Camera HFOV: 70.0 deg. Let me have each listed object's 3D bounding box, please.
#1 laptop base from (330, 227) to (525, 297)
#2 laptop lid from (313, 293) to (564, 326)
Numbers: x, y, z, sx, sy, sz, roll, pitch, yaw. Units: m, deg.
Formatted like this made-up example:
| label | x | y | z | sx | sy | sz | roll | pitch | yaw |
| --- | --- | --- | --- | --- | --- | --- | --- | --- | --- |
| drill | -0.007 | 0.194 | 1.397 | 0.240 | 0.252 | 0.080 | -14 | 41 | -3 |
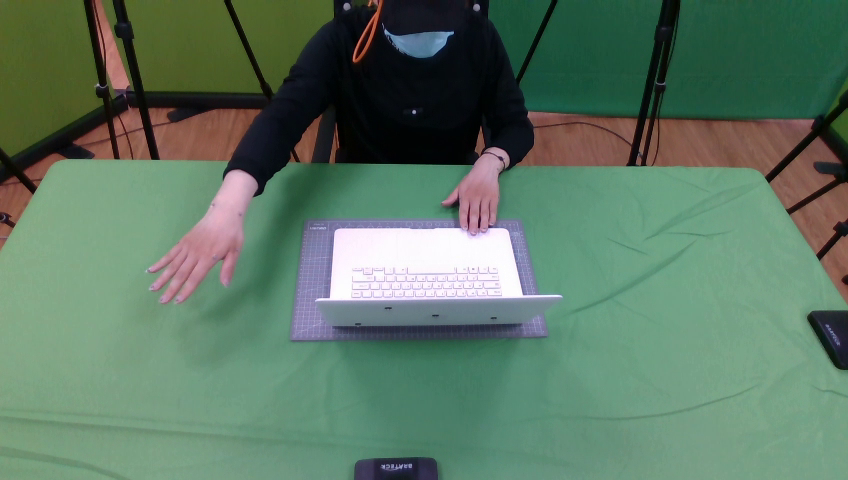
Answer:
| label | x | y | z | sx | sy | sz | roll | pitch | yaw |
| --- | --- | --- | --- | --- | --- | --- | --- | --- | --- |
| laptop base | 0.005 | 0.061 | 1.137 | 0.355 | 0.023 | 0.234 | 0 | 43 | -4 |
| laptop lid | 0.017 | 0.112 | 0.945 | 0.357 | 0.242 | 0.013 | 0 | 74 | -5 |
